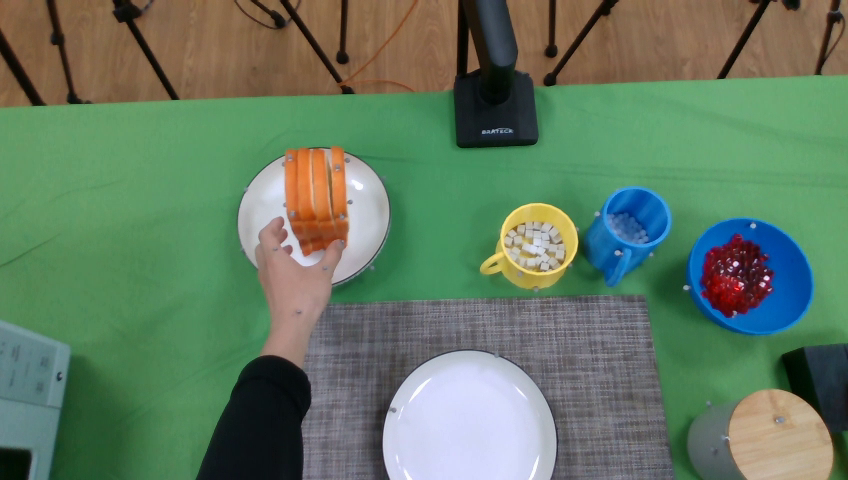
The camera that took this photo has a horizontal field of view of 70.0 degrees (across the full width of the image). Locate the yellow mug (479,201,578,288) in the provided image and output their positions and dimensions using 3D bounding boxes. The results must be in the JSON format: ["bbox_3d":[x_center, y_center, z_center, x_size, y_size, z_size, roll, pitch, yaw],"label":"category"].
[{"bbox_3d":[0.132,0.013,0.795,0.131,0.064,0.099,-24,70,-6],"label":"yellow mug"}]

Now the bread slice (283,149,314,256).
[{"bbox_3d":[-0.160,-0.055,0.780,0.018,0.135,0.106,-5,66,-3],"label":"bread slice"}]

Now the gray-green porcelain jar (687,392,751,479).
[{"bbox_3d":[0.365,0.227,0.681,0.106,0.127,0.105,0,70,1],"label":"gray-green porcelain jar"}]

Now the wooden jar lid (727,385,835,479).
[{"bbox_3d":[0.363,0.205,0.623,0.108,0.021,0.107,1,71,-1],"label":"wooden jar lid"}]

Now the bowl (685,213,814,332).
[{"bbox_3d":[0.399,0.050,0.771,0.151,0.077,0.150,0,70,1],"label":"bowl"}]

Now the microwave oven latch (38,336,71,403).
[{"bbox_3d":[-0.460,0.158,0.744,0.030,0.030,0.078,4,70,2],"label":"microwave oven latch"}]

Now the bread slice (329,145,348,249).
[{"bbox_3d":[-0.111,-0.058,0.782,0.019,0.132,0.104,-4,71,-9],"label":"bread slice"}]

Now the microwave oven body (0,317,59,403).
[{"bbox_3d":[-0.602,0.295,0.592,0.326,0.262,0.438,-2,70,0],"label":"microwave oven body"}]

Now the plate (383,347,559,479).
[{"bbox_3d":[0.056,0.234,0.726,0.209,0.038,0.207,0,70,1],"label":"plate"}]

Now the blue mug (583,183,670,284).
[{"bbox_3d":[0.253,0.001,0.777,0.082,0.106,0.116,16,71,7],"label":"blue mug"}]

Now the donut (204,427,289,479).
[{"bbox_3d":[-0.208,0.273,0.717,0.099,0.048,0.098,1,69,-1],"label":"donut"}]

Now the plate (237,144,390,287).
[{"bbox_3d":[-0.149,-0.032,0.831,0.208,0.039,0.206,0,70,1],"label":"plate"}]

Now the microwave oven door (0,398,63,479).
[{"bbox_3d":[-0.455,0.328,0.573,0.039,0.245,0.353,-2,69,1],"label":"microwave oven door"}]
